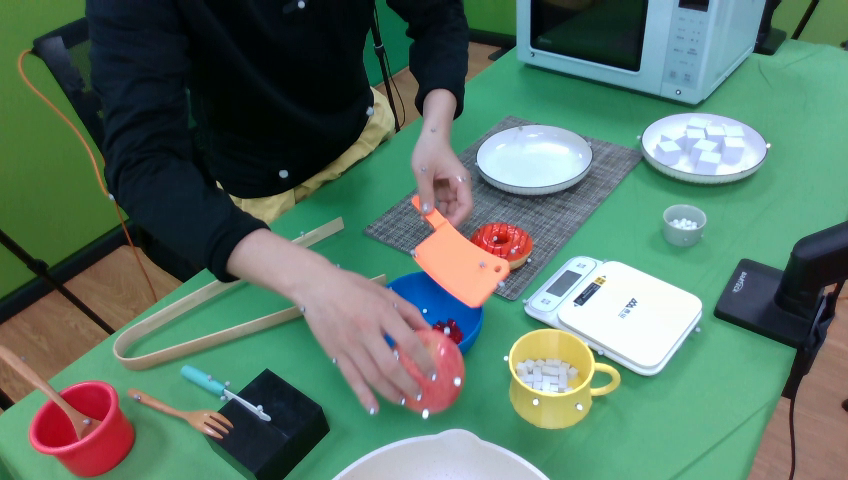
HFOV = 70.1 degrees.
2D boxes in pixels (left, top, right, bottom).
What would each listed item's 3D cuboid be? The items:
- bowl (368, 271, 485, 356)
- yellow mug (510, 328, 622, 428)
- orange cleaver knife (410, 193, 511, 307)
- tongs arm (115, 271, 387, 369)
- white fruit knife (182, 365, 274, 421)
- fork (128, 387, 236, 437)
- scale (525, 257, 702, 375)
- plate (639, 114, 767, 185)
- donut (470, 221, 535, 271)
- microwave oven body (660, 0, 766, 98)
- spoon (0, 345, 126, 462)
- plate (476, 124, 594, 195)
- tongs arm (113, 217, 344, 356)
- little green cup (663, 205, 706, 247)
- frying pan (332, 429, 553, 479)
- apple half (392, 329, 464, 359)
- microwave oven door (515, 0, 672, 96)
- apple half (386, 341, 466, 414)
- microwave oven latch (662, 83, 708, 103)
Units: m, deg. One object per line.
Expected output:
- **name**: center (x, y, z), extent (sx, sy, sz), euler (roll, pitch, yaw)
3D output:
- **bowl**: center (0.007, 0.118, 0.791), extent (0.151, 0.077, 0.150), euler (-4, 40, 4)
- **yellow mug**: center (0.168, 0.164, 0.722), extent (0.130, 0.064, 0.099), euler (1, 40, 8)
- **orange cleaver knife**: center (0.023, 0.006, 0.717), extent (0.077, 0.012, 0.209), euler (-34, 43, -10)
- **tongs arm**: center (-0.238, 0.112, 0.869), extent (0.389, 0.028, 0.028), euler (-18, 48, -12)
- **white fruit knife**: center (-0.245, 0.187, 0.747), extent (0.205, 0.027, 0.016), euler (9, 41, 41)
- **fork**: center (-0.305, 0.207, 0.744), extent (0.206, 0.019, 0.028), euler (3, 42, 36)
- **scale**: center (0.254, 0.091, 0.821), extent (0.199, 0.032, 0.149), euler (28, 51, 35)
- **plate**: center (0.489, -0.157, 1.074), extent (0.207, 0.039, 0.206), euler (-4, 40, 4)
- **donut**: center (0.119, 0.009, 0.923), extent (0.099, 0.048, 0.098), euler (-3, 38, 3)
- **microwave oven body**: center (0.472, -0.513, 1.317), extent (0.438, 0.261, 0.327), euler (26, 51, 34)
- **spoon**: center (-0.434, 0.192, 0.720), extent (0.194, 0.021, 0.042), euler (47, 53, -7)
- **plate**: center (0.199, -0.141, 1.093), extent (0.209, 0.038, 0.208), euler (-4, 40, 4)
- **tongs arm**: center (-0.280, 0.066, 0.927), extent (0.386, 0.026, 0.050), euler (-28, 47, -23)
- **little green cup**: center (0.396, -0.020, 0.926), extent (0.061, 0.039, 0.061), euler (-4, 40, 4)
- **frying pan**: center (-0.089, 0.306, 0.564), extent (0.487, 0.103, 0.306), euler (10, 42, 8)
- **apple half**: center (0.007, 0.119, 0.633), extent (0.081, 0.081, 0.032), euler (3, 39, 12)
- **microwave oven door**: center (0.343, -0.454, 1.259), extent (0.353, 0.245, 0.039), euler (26, 51, 33)
- **apple half**: center (0.000, 0.143, 0.605), extent (0.080, 0.075, 0.053), euler (-2, 40, 15)
- **microwave oven latch**: center (0.518, -0.296, 1.204), extent (0.078, 0.029, 0.030), euler (28, 52, 35)
